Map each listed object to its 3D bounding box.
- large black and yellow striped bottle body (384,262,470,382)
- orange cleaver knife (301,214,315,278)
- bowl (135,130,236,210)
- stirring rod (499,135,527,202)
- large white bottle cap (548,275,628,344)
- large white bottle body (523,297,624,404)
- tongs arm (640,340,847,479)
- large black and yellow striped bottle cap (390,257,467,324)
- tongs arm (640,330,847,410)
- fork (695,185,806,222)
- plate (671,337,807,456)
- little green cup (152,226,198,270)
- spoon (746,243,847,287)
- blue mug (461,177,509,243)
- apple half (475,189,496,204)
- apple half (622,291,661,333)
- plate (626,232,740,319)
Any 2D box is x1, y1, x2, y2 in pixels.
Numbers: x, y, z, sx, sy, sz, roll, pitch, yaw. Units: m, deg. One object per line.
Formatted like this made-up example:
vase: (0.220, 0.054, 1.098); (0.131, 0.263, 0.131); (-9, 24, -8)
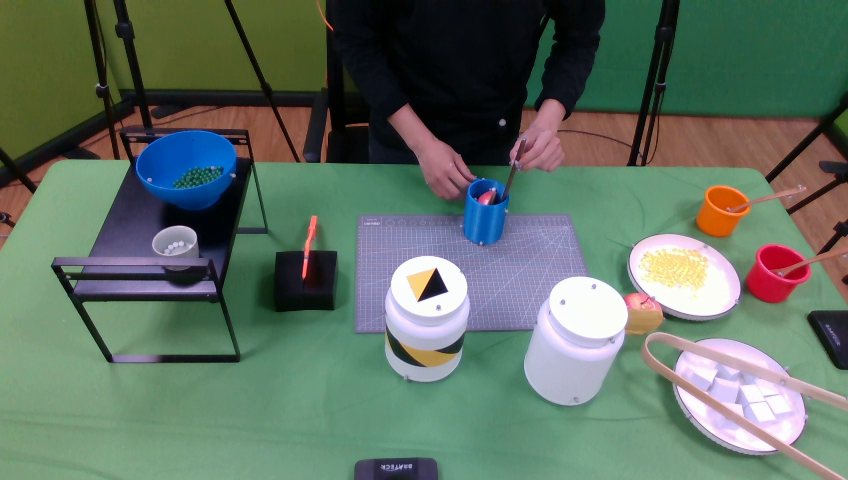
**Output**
large black and yellow striped bottle body: (0.002, 0.127, 0.962); (0.131, 0.185, 0.130); (2, 48, -2)
orange cleaver knife: (-0.218, 0.007, 1.131); (0.012, 0.077, 0.210); (7, 19, -9)
bowl: (-0.375, -0.102, 0.977); (0.151, 0.077, 0.150); (2, 47, -2)
stirring rod: (0.160, -0.122, 1.113); (0.006, 0.177, 0.014); (34, 51, 17)
large white bottle cap: (0.240, 0.100, 0.890); (0.115, 0.018, 0.114); (3, 47, -3)
large white bottle body: (0.235, 0.159, 0.952); (0.131, 0.185, 0.130); (2, 47, -2)
tongs arm: (0.500, 0.277, 0.919); (0.386, 0.028, 0.028); (34, 59, 22)
large black and yellow striped bottle cap: (0.007, 0.072, 0.899); (0.115, 0.019, 0.114); (2, 47, -2)
tongs arm: (0.543, 0.225, 0.969); (0.384, 0.026, 0.050); (22, 52, 13)
fork: (0.658, -0.074, 1.229); (0.207, 0.019, 0.028); (-23, 34, 37)
plate: (0.503, 0.254, 0.984); (0.208, 0.039, 0.206); (2, 46, -2)
little green cup: (-0.364, 0.013, 0.894); (0.061, 0.039, 0.061); (3, 46, -3)
spoon: (0.702, 0.043, 1.126); (0.194, 0.022, 0.041); (-29, 38, 30)
blue mug: (0.114, -0.069, 1.210); (0.082, 0.106, 0.115); (-11, 48, -15)
apple half: (0.110, -0.067, 1.194); (0.033, 0.081, 0.081); (27, 50, 8)
apple half: (0.372, 0.123, 1.074); (0.081, 0.075, 0.053); (0, 42, 1)
plate: (0.488, 0.070, 1.157); (0.209, 0.038, 0.208); (3, 46, -3)
